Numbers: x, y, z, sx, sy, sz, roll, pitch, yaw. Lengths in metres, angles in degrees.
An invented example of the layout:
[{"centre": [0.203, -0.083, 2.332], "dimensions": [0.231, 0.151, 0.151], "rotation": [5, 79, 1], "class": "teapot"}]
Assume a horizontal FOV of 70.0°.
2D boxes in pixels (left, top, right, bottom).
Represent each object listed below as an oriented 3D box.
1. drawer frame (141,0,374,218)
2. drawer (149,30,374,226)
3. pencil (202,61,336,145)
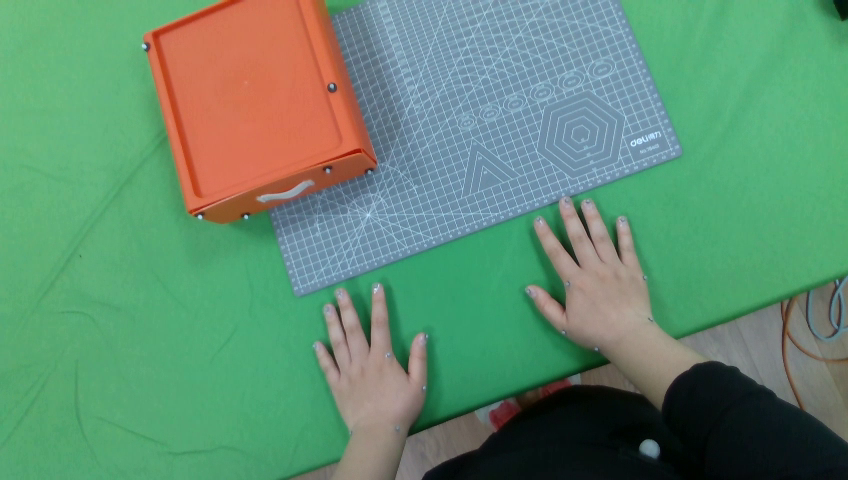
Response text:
[{"centre": [-0.184, -0.149, 0.674], "dimensions": [0.201, 0.083, 0.212], "rotation": [-20, 80, 7], "class": "drawer frame"}, {"centre": [-0.181, -0.144, 0.674], "dimensions": [0.194, 0.073, 0.211], "rotation": [-20, 80, 7], "class": "drawer"}, {"centre": [-0.179, -0.157, 0.697], "dimensions": [0.193, 0.012, 0.012], "rotation": [32, 90, 11], "class": "pencil"}]
